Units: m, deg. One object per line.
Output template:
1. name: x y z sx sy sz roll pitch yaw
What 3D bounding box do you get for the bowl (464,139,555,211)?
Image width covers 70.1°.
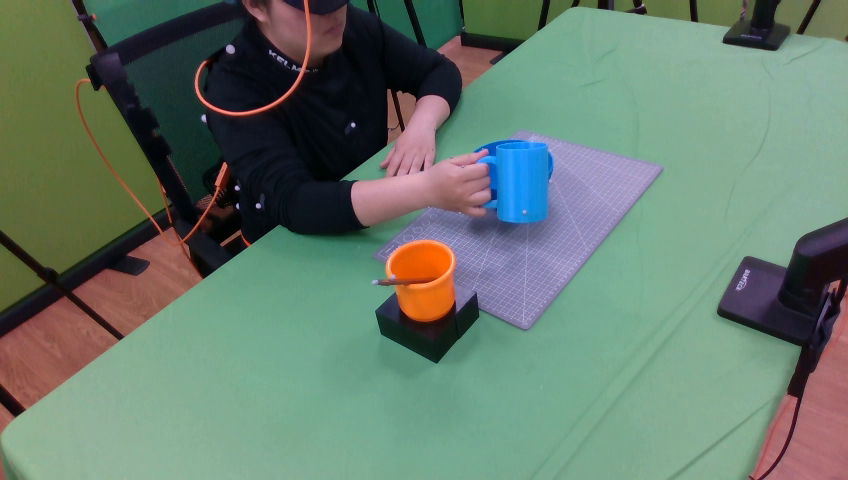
1. bowl: 0.145 -0.100 1.025 0.151 0.077 0.150 -5 40 5

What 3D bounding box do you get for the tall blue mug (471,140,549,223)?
1. tall blue mug: 0.131 -0.085 0.886 0.108 0.108 0.077 -8 18 -16

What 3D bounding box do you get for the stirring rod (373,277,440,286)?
1. stirring rod: -0.018 0.051 0.758 0.014 0.006 0.177 13 3 23
